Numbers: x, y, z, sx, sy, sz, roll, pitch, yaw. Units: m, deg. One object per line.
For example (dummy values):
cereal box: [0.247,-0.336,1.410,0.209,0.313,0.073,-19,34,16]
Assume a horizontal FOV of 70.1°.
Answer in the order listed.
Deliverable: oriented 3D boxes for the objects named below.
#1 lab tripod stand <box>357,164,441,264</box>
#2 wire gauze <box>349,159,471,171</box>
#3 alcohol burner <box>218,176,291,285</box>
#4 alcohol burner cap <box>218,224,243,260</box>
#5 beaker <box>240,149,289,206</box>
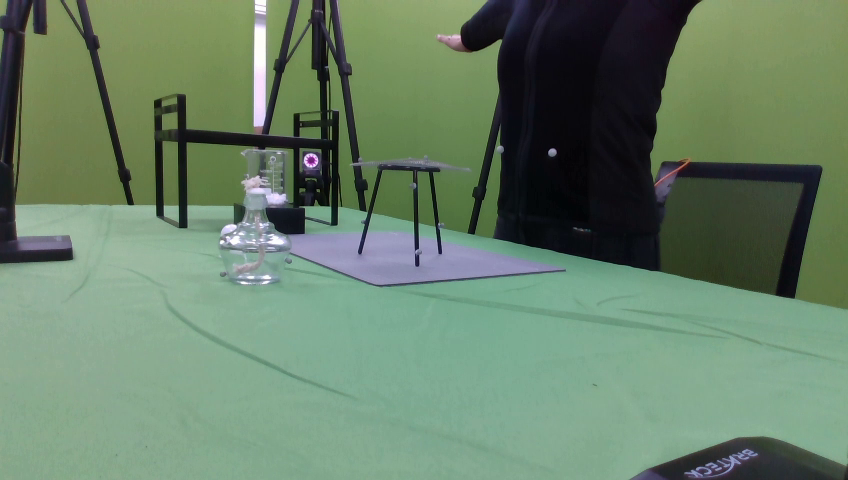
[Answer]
lab tripod stand: [-0.023,-0.041,0.859,0.148,0.131,0.148,2,5,0]
wire gauze: [-0.019,-0.106,0.847,0.121,0.011,0.126,8,7,43]
alcohol burner: [-0.187,-0.011,0.668,0.078,0.119,0.078,2,10,0]
alcohol burner cap: [-0.263,0.002,0.824,0.034,0.048,0.034,5,9,0]
beaker: [-0.286,-0.112,1.086,0.084,0.100,0.073,-1,9,-23]
